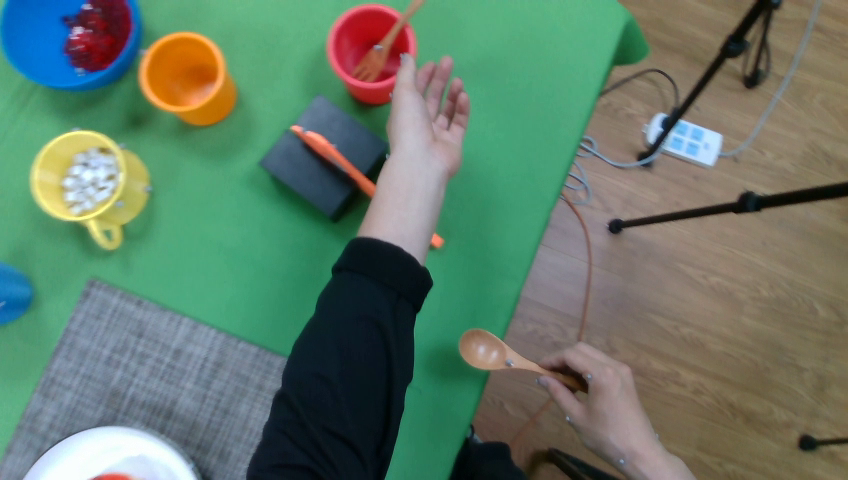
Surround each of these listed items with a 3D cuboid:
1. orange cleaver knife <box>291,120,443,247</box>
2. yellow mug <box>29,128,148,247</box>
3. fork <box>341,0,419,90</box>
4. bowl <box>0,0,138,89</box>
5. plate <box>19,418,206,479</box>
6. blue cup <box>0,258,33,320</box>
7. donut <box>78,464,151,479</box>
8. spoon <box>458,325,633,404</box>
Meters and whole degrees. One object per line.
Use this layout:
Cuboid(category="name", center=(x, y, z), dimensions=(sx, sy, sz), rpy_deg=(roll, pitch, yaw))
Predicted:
Cuboid(category="orange cleaver knife", center=(-0.062, -0.061, 0.680), dimensions=(0.213, 0.076, 0.012), rpy_deg=(40, 85, -26))
Cuboid(category="yellow mug", center=(-0.368, -0.054, 0.679), dimensions=(0.100, 0.064, 0.130), rpy_deg=(-19, 86, -4))
Cuboid(category="fork", center=(-0.027, -0.243, 0.669), dimensions=(0.207, 0.018, 0.028), rpy_deg=(-41, 82, 36))
Cuboid(category="bowl", center=(-0.392, -0.236, 0.692), dimensions=(0.151, 0.077, 0.151), rpy_deg=(0, 84, -2))
Cuboid(category="plate", center=(-0.332, 0.295, 0.652), dimensions=(0.209, 0.038, 0.208), rpy_deg=(0, 84, -2))
Cuboid(category="blue cup", center=(-0.476, 0.052, 0.647), dimensions=(0.093, 0.100, 0.092), rpy_deg=(0, 83, -3))
Cuboid(category="donut", center=(-0.331, 0.288, 0.642), dimensions=(0.099, 0.048, 0.099), rpy_deg=(0, 86, -2))
Cuboid(category="spoon", center=(0.127, 0.136, 0.632), dimensions=(0.193, 0.022, 0.041), rpy_deg=(19, 62, 4))
